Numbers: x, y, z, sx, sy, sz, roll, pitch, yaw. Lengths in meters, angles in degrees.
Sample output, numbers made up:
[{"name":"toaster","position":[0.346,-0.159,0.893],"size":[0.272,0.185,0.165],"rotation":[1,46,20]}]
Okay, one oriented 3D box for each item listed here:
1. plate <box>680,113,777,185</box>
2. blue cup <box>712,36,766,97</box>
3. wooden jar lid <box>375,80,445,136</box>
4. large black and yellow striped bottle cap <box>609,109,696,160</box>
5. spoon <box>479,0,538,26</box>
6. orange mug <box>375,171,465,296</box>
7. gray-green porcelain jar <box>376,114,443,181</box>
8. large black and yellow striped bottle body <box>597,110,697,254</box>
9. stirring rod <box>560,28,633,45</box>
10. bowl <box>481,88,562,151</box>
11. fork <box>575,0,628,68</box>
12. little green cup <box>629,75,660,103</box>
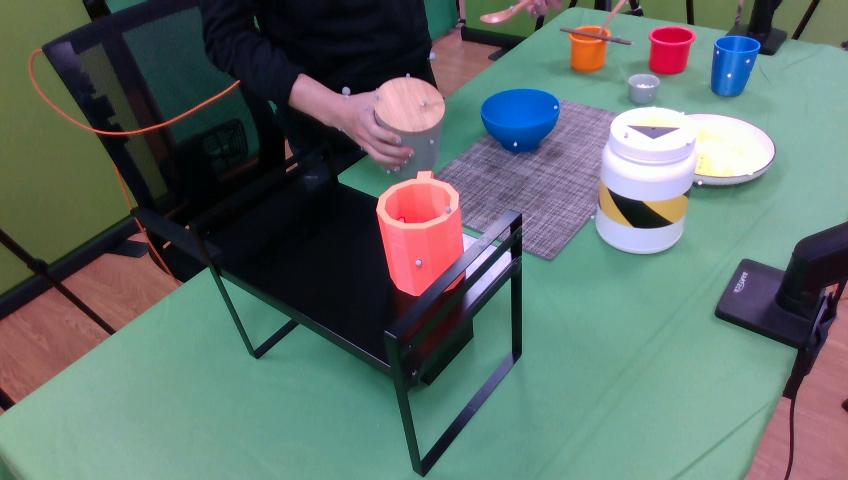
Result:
[{"name":"plate","position":[0.506,-0.158,1.073],"size":[0.209,0.038,0.208],"rotation":[-4,40,4]},{"name":"blue cup","position":[0.627,-0.350,1.227],"size":[0.092,0.100,0.092],"rotation":[-4,39,4]},{"name":"wooden jar lid","position":[-0.021,-0.199,0.925],"size":[0.108,0.021,0.108],"rotation":[3,59,-5]},{"name":"large black and yellow striped bottle cap","position":[0.319,-0.150,0.849],"size":[0.115,0.019,0.114],"rotation":[-4,40,3]},{"name":"spoon","position":[0.188,-0.409,1.039],"size":[0.193,0.022,0.041],"rotation":[-21,37,12]},{"name":"orange mug","position":[0.000,-0.016,0.661],"size":[0.083,0.101,0.125],"rotation":[-2,45,8]},{"name":"gray-green porcelain jar","position":[-0.025,-0.166,0.978],"size":[0.106,0.127,0.105],"rotation":[2,58,-3]},{"name":"large black and yellow striped bottle body","position":[0.331,-0.086,0.904],"size":[0.131,0.185,0.130],"rotation":[-5,41,4]},{"name":"stirring rod","position":[0.382,-0.453,1.345],"size":[0.174,0.006,0.014],"rotation":[26,52,34]},{"name":"bowl","position":[0.187,-0.223,1.161],"size":[0.151,0.077,0.150],"rotation":[-4,40,4]},{"name":"fork","position":[0.413,-0.481,1.377],"size":[0.207,0.019,0.028],"rotation":[-56,43,12]},{"name":"little green cup","position":[0.457,-0.314,1.260],"size":[0.061,0.039,0.061],"rotation":[-4,40,4]}]
